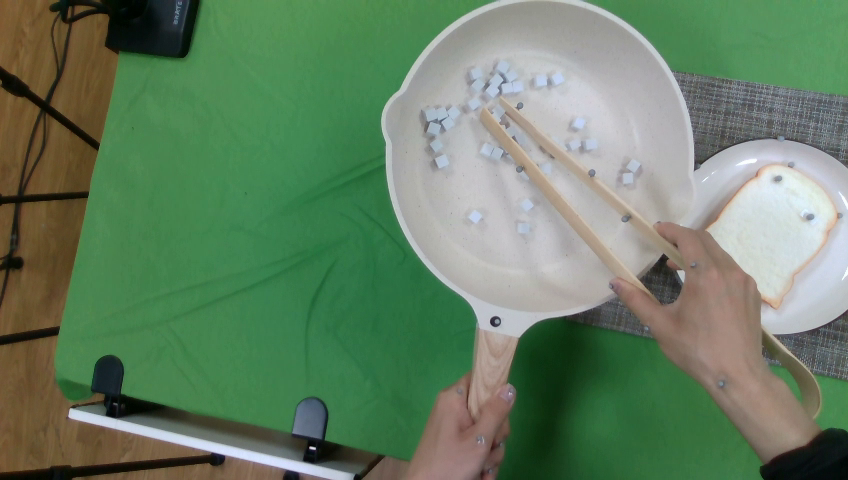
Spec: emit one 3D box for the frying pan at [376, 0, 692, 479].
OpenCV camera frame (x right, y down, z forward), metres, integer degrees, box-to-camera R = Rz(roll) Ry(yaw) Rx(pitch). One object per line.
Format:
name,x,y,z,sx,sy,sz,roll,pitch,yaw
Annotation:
frying pan,0.078,0.024,0.567,0.308,0.102,0.486,15,83,-9

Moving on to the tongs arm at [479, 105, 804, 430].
tongs arm,0.176,0.018,0.541,0.028,0.028,0.385,-36,76,-14

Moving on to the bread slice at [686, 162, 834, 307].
bread slice,0.359,-0.014,0.644,0.106,0.018,0.134,35,93,9

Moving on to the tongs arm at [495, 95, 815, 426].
tongs arm,0.189,0.008,0.544,0.050,0.027,0.383,-43,77,-12

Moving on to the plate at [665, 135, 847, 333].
plate,0.360,-0.006,0.641,0.207,0.039,0.207,-1,85,9
